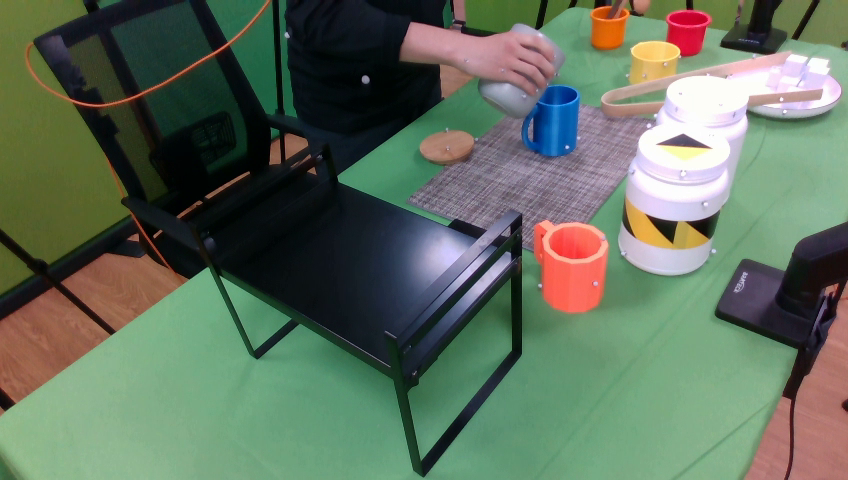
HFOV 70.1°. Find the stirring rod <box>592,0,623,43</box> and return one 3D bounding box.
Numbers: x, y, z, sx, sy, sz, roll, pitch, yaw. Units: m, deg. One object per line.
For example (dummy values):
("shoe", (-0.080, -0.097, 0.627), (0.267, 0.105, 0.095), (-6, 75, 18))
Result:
("stirring rod", (0.460, -0.558, 1.461), (0.014, 0.176, 0.006), (35, 11, 22))

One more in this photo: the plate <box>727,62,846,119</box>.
("plate", (0.709, -0.292, 1.197), (0.207, 0.039, 0.206), (-4, 40, 4))

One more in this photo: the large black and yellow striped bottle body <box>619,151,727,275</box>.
("large black and yellow striped bottle body", (0.354, -0.056, 0.865), (0.131, 0.185, 0.130), (-4, 41, 4))

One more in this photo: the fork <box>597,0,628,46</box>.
("fork", (0.479, -0.558, 1.455), (0.028, 0.019, 0.207), (35, 100, 38))

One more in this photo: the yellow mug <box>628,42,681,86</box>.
("yellow mug", (0.495, -0.389, 1.321), (0.100, 0.064, 0.130), (-14, 40, -6))

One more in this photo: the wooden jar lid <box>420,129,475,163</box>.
("wooden jar lid", (0.047, -0.183, 1.183), (0.108, 0.021, 0.108), (-6, 37, 5))

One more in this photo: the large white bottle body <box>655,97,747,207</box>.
("large white bottle body", (0.431, -0.148, 0.959), (0.130, 0.185, 0.130), (-4, 41, 4))

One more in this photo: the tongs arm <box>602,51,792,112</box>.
("tongs arm", (0.552, -0.320, 1.224), (0.384, 0.027, 0.050), (-10, 43, 7))

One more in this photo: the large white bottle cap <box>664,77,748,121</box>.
("large white bottle cap", (0.421, -0.212, 0.905), (0.115, 0.018, 0.114), (-4, 40, 4))

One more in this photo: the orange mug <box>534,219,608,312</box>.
("orange mug", (0.200, 0.027, 0.858), (0.084, 0.101, 0.125), (-24, 47, -18))

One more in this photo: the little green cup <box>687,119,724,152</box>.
("little green cup", (0.514, -0.191, 1.109), (0.061, 0.039, 0.061), (-5, 40, 5))

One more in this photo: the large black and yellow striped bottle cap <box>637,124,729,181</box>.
("large black and yellow striped bottle cap", (0.346, -0.119, 0.810), (0.115, 0.019, 0.114), (-5, 41, 5))

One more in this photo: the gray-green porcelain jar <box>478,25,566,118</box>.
("gray-green porcelain jar", (0.161, -0.280, 1.027), (0.105, 0.107, 0.126), (39, 99, 41))

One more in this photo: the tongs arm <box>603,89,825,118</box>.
("tongs arm", (0.546, -0.262, 1.162), (0.386, 0.028, 0.028), (-1, 49, 18))

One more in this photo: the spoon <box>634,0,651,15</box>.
("spoon", (0.414, -0.531, 1.173), (0.042, 0.021, 0.193), (0, 78, -23))

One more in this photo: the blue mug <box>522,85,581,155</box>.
("blue mug", (0.233, -0.218, 1.127), (0.117, 0.106, 0.081), (-23, 43, -16))
